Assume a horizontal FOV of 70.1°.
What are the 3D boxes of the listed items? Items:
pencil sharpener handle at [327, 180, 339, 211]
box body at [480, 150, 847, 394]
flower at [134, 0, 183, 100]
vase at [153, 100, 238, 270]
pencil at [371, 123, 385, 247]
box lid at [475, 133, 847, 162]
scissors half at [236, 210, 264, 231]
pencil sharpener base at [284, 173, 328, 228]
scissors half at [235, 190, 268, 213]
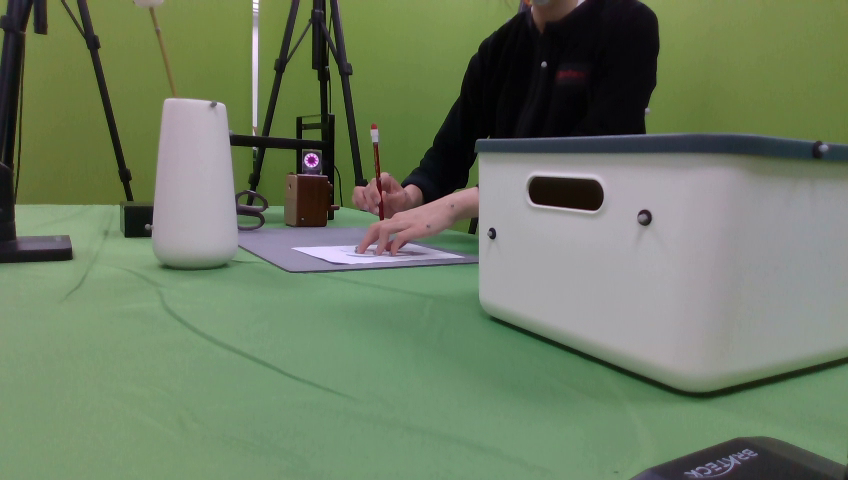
[{"bbox_3d":[-0.194,-0.095,1.256,0.031,0.067,0.036,-2,-6,-36],"label":"pencil sharpener handle"},{"bbox_3d":[0.254,0.002,0.539,0.366,0.160,0.253,-2,8,-31],"label":"box body"},{"bbox_3d":[-0.282,-0.147,0.713,0.038,0.362,0.044,-23,24,-31],"label":"flower"},{"bbox_3d":[-0.278,-0.066,0.736,0.098,0.200,0.098,2,9,0],"label":"vase"},{"bbox_3d":[-0.071,-0.085,0.942,0.012,0.194,0.012,-4,4,1],"label":"pencil"},{"bbox_3d":[0.256,-0.073,0.528,0.373,0.015,0.262,-2,8,-31],"label":"box lid"},{"bbox_3d":[-0.369,-0.051,1.065,0.176,0.040,0.012,19,13,-27],"label":"scissors half"},{"bbox_3d":[-0.239,-0.081,1.231,0.077,0.107,0.061,-2,8,-36],"label":"pencil sharpener base"},{"bbox_3d":[-0.363,-0.070,1.060,0.176,0.040,0.013,0,16,-23],"label":"scissors half"}]
